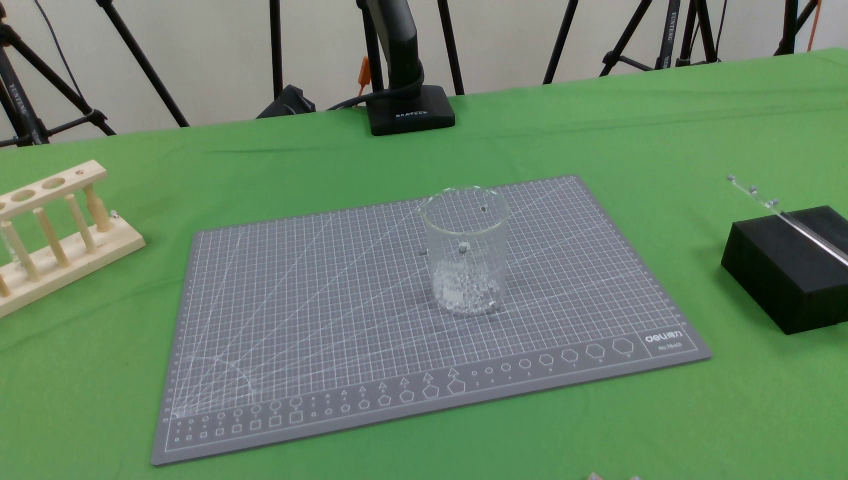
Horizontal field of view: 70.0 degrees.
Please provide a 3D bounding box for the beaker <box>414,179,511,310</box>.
[{"bbox_3d":[0.035,0.007,0.545,0.084,0.101,0.073,5,39,12],"label":"beaker"}]

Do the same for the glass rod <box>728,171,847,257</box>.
[{"bbox_3d":[0.343,-0.013,0.540,0.008,0.008,0.197,-15,39,-14],"label":"glass rod"}]

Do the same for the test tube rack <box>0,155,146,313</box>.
[{"bbox_3d":[-0.415,0.011,0.592,0.066,0.086,0.242,30,49,35],"label":"test tube rack"}]

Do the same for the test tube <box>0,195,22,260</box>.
[{"bbox_3d":[-0.418,-0.045,0.582,0.017,0.151,0.017,-4,31,3],"label":"test tube"}]
